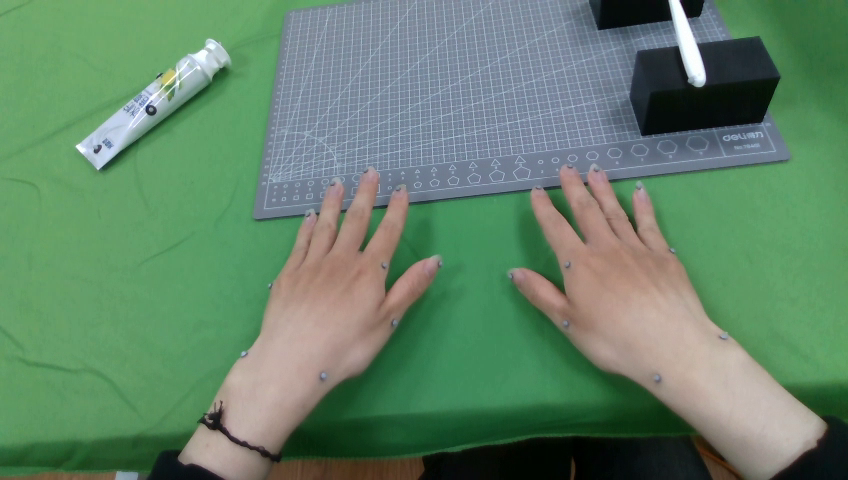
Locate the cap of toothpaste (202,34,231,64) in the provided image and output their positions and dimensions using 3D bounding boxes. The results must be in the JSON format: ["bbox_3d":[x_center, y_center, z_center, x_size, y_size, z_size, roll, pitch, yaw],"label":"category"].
[{"bbox_3d":[-0.219,-0.199,0.636,0.037,0.038,0.011,25,61,24],"label":"cap of toothpaste"}]

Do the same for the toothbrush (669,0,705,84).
[{"bbox_3d":[0.217,-0.199,0.516,0.014,0.017,0.180,3,58,-1],"label":"toothbrush"}]

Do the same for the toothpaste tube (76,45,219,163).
[{"bbox_3d":[-0.276,-0.144,0.615,0.054,0.035,0.165,33,70,35],"label":"toothpaste tube"}]
